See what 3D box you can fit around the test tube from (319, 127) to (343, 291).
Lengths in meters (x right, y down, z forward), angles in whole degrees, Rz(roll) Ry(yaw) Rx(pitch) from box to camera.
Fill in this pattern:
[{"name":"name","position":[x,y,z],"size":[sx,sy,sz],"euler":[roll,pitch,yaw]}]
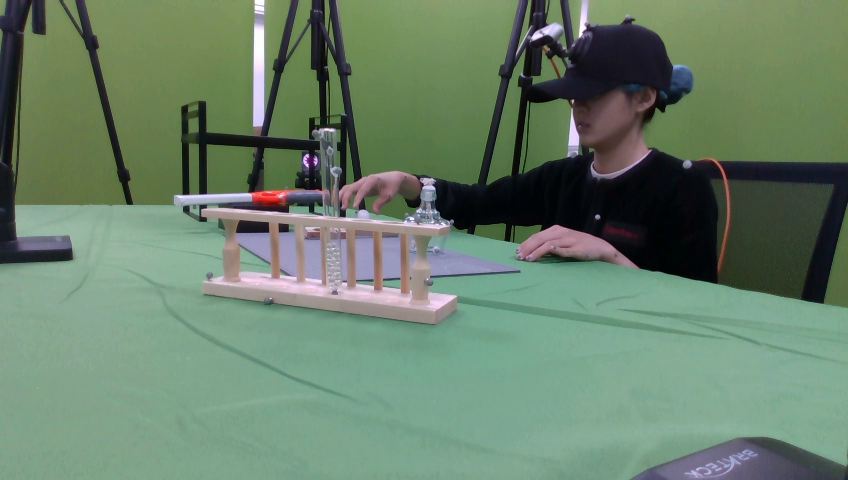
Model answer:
[{"name":"test tube","position":[-0.084,-0.027,0.552],"size":[0.017,0.150,0.017],"euler":[-1,8,0]}]

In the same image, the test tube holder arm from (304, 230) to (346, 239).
[{"name":"test tube holder arm","position":[-0.162,-0.010,1.040],"size":[0.088,0.015,0.010],"euler":[0,45,-32]}]

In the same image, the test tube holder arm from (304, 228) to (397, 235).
[{"name":"test tube holder arm","position":[-0.126,-0.014,1.068],"size":[0.179,0.015,0.013],"euler":[-2,45,-33]}]

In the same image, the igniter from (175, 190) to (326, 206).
[{"name":"igniter","position":[-0.315,-0.079,1.128],"size":[0.278,0.025,0.057],"euler":[-5,13,-34]}]

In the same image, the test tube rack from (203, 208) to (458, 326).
[{"name":"test tube rack","position":[-0.090,0.019,0.579],"size":[0.241,0.085,0.067],"euler":[5,7,19]}]

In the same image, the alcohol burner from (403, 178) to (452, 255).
[{"name":"alcohol burner","position":[0.005,-0.036,0.923],"size":[0.078,0.119,0.078],"euler":[5,7,0]}]

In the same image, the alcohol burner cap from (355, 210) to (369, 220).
[{"name":"alcohol burner cap","position":[-0.117,-0.033,1.135],"size":[0.034,0.048,0.034],"euler":[3,5,0]}]
